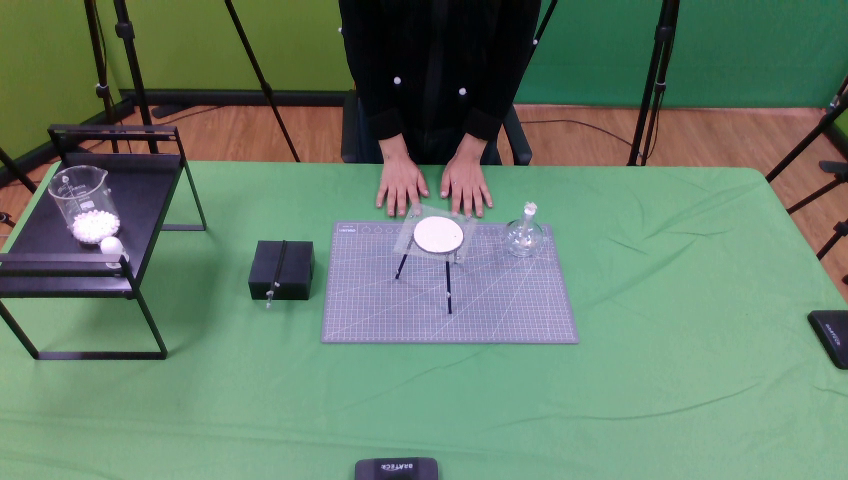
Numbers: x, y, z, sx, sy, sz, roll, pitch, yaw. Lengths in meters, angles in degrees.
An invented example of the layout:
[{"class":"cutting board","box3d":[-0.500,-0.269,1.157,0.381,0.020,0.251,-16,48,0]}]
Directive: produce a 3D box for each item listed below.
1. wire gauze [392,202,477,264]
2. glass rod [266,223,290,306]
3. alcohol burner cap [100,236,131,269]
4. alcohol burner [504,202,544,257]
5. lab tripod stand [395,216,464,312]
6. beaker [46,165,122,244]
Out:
[{"class":"wire gauze","box3d":[0.021,-0.011,1.037,0.121,0.011,0.124,13,47,8]},{"class":"glass rod","box3d":[-0.260,0.039,1.084,0.008,0.008,0.198,3,45,-1]},{"class":"alcohol burner cap","box3d":[-0.452,0.016,0.883,0.034,0.048,0.033,1,48,-1]},{"class":"alcohol burner","box3d":[0.195,-0.025,1.170,0.078,0.119,0.077,2,44,-2]},{"class":"lab tripod stand","box3d":[0.023,0.036,1.084,0.148,0.132,0.147,4,46,-4]},{"class":"beaker","box3d":[-0.499,-0.051,0.905,0.073,0.101,0.084,35,53,26]}]
